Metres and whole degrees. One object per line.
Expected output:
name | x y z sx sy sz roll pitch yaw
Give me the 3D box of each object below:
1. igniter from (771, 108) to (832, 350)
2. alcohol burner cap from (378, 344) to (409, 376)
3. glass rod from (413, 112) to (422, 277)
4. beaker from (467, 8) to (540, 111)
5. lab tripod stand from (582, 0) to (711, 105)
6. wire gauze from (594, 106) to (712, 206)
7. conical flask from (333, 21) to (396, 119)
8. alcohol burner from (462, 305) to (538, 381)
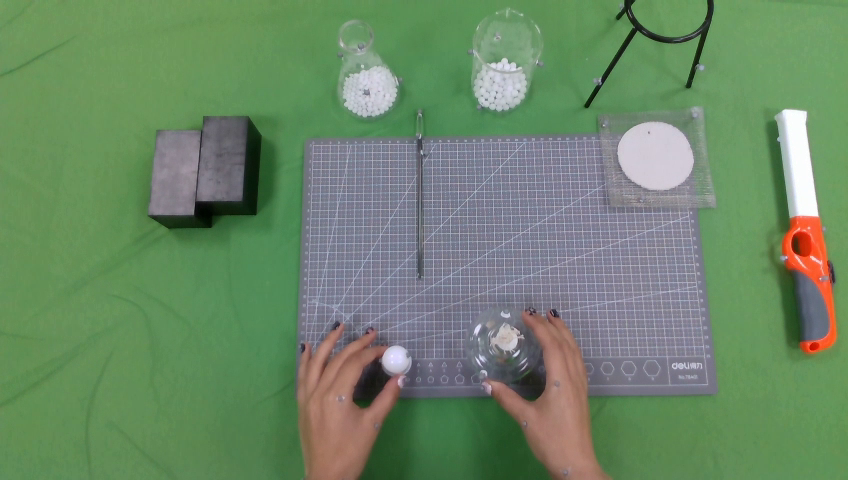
igniter | 0.419 -0.017 0.674 0.057 0.025 0.275 3 77 -8
alcohol burner cap | -0.031 0.121 0.622 0.034 0.048 0.033 1 74 -3
glass rod | -0.007 -0.056 0.695 0.008 0.008 0.198 -1 76 0
beaker | 0.086 -0.200 0.686 0.074 0.101 0.083 1 75 1
lab tripod stand | 0.244 -0.222 0.672 0.148 0.132 0.147 0 78 1
wire gauze | 0.266 -0.097 0.703 0.125 0.011 0.121 -2 77 0
conical flask | -0.072 -0.193 0.675 0.075 0.122 0.075 0 76 1
alcohol burner | 0.077 0.102 0.604 0.078 0.119 0.077 0 78 1
